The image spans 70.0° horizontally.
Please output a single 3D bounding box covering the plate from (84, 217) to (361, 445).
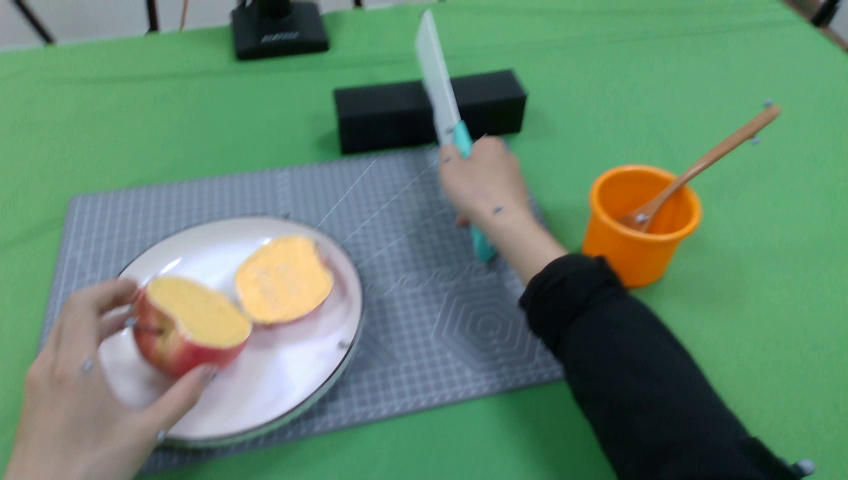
[{"bbox_3d":[-0.154,0.067,0.484,0.209,0.038,0.207,1,48,-1],"label":"plate"}]

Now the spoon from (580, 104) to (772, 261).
[{"bbox_3d":[0.216,-0.048,0.526,0.022,0.194,0.041,25,29,-41],"label":"spoon"}]

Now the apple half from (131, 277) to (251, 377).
[{"bbox_3d":[-0.176,0.070,0.449,0.080,0.053,0.075,36,12,11],"label":"apple half"}]

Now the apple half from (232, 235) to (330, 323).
[{"bbox_3d":[-0.117,0.038,0.504,0.081,0.033,0.080,-1,61,2],"label":"apple half"}]

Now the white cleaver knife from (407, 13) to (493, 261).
[{"bbox_3d":[0.020,-0.108,0.605,0.021,0.066,0.284,-7,65,-13],"label":"white cleaver knife"}]
